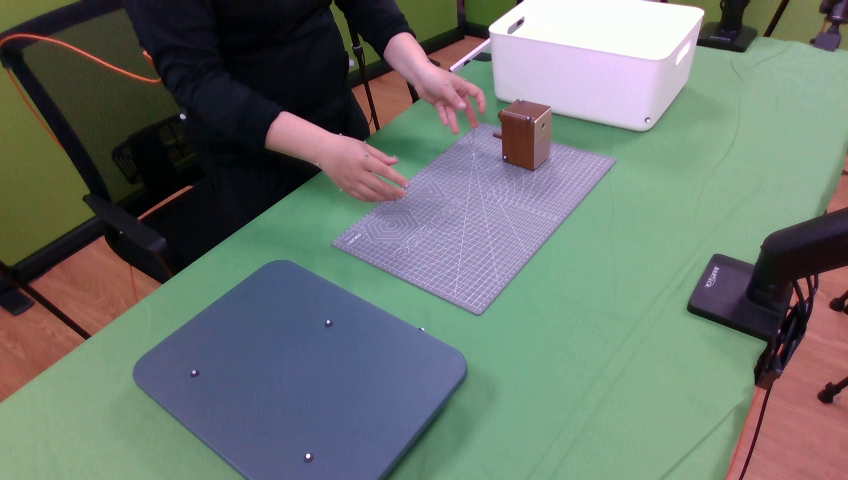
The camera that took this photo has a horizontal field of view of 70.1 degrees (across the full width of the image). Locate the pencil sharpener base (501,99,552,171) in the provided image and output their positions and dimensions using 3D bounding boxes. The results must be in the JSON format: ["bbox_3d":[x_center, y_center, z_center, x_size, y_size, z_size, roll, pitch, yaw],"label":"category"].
[{"bbox_3d":[0.184,-0.191,1.097,0.076,0.107,0.061,23,49,32],"label":"pencil sharpener base"}]

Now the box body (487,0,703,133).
[{"bbox_3d":[0.346,-0.374,1.251,0.361,0.161,0.255,20,48,29],"label":"box body"}]

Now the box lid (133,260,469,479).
[{"bbox_3d":[-0.156,0.160,0.747,0.368,0.015,0.264,23,49,31],"label":"box lid"}]

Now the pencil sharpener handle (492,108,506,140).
[{"bbox_3d":[0.141,-0.216,1.114,0.030,0.068,0.036,23,41,32],"label":"pencil sharpener handle"}]
